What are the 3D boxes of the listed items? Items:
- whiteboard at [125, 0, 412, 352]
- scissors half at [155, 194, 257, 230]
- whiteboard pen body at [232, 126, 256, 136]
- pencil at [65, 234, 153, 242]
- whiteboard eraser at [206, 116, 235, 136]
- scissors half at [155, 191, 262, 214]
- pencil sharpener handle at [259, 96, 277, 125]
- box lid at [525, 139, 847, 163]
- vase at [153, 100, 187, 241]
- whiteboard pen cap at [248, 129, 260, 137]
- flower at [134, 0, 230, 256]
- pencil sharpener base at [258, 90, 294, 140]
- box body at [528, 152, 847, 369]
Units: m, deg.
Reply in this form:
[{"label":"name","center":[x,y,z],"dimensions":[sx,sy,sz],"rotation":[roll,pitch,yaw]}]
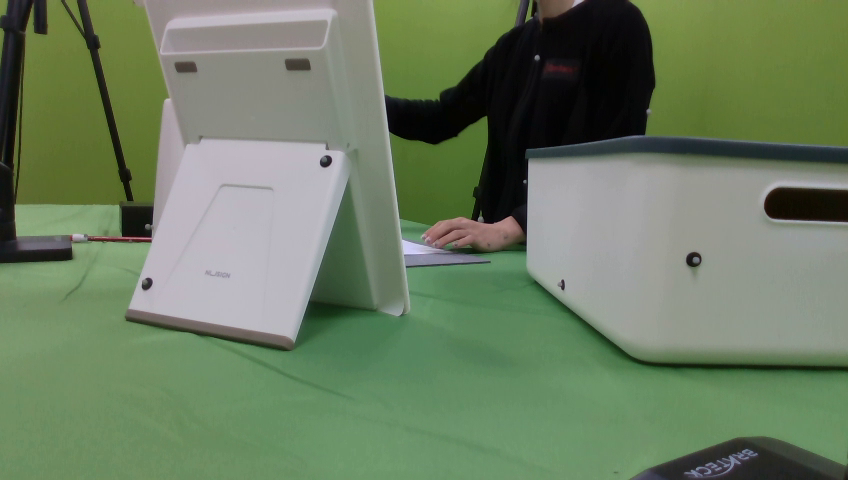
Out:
[{"label":"whiteboard","center":[-0.151,-0.049,0.472],"dimensions":[0.216,0.305,0.144],"rotation":[6,27,24]},{"label":"scissors half","center":[-0.378,-0.051,1.059],"dimensions":[0.176,0.040,0.012],"rotation":[20,22,-31]},{"label":"whiteboard pen body","center":[-0.407,-0.247,1.372],"dimensions":[0.017,0.017,0.140],"rotation":[-3,13,-35]},{"label":"pencil","center":[-0.429,-0.001,0.911],"dimensions":[0.195,0.012,0.012],"rotation":[1,8,-20]},{"label":"whiteboard eraser","center":[-0.449,-0.251,1.335],"dimensions":[0.056,0.042,0.112],"rotation":[1,7,-22]},{"label":"scissors half","center":[-0.371,-0.069,1.051],"dimensions":[0.176,0.040,0.013],"rotation":[2,25,-24]},{"label":"pencil sharpener handle","center":[-0.373,-0.304,1.425],"dimensions":[0.036,0.067,0.030],"rotation":[14,-1,-37]},{"label":"box lid","center":[0.261,-0.078,0.580],"dimensions":[0.264,0.015,0.371],"rotation":[2,7,-4]},{"label":"vase","center":[-0.278,-0.066,0.736],"dimensions":[0.098,0.200,0.098],"rotation":[2,9,0]},{"label":"whiteboard pen cap","center":[-0.373,-0.235,1.326],"dimensions":[0.018,0.018,0.033],"rotation":[-3,13,-35]},{"label":"flower","center":[-0.282,-0.146,0.713],"dimensions":[0.038,0.362,0.044],"rotation":[-23,23,-30]},{"label":"pencil sharpener base","center":[-0.341,-0.285,1.388],"dimensions":[0.062,0.107,0.076],"rotation":[-3,9,-36]},{"label":"box body","center":[0.258,-0.005,0.591],"dimensions":[0.254,0.160,0.363],"rotation":[2,7,-4]}]
